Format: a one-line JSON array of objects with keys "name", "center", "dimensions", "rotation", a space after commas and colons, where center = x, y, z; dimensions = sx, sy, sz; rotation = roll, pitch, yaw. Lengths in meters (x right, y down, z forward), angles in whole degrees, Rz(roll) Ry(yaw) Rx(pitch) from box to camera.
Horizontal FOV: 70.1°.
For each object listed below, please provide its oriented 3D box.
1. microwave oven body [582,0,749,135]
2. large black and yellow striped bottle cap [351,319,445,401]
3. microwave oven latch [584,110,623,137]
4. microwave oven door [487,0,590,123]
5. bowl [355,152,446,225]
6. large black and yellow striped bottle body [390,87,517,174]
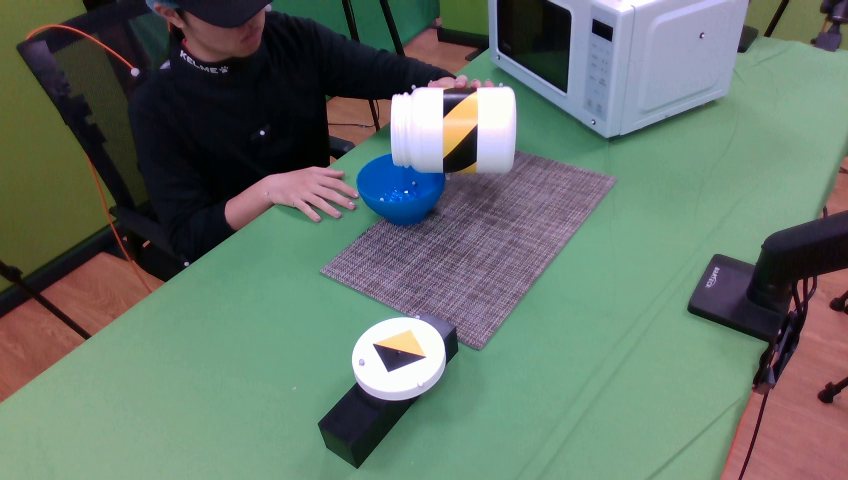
[{"name": "microwave oven body", "center": [0.382, -0.444, 1.246], "dimensions": [0.327, 0.261, 0.437], "rotation": [-22, 42, -16]}, {"name": "large black and yellow striped bottle cap", "center": [-0.031, 0.143, 0.735], "dimensions": [0.115, 0.019, 0.114], "rotation": [-3, 40, 3]}, {"name": "microwave oven latch", "center": [0.337, -0.222, 1.142], "dimensions": [0.030, 0.029, 0.078], "rotation": [-21, 42, -14]}, {"name": "microwave oven door", "center": [0.232, -0.420, 1.231], "dimensions": [0.039, 0.245, 0.352], "rotation": [-22, 43, -16]}, {"name": "bowl", "center": [-0.035, -0.078, 1.017], "dimensions": [0.151, 0.077, 0.150], "rotation": [-4, 40, 4]}, {"name": "large black and yellow striped bottle body", "center": [0.044, -0.168, 0.925], "dimensions": [0.184, 0.131, 0.130], "rotation": [1, 41, 2]}]
